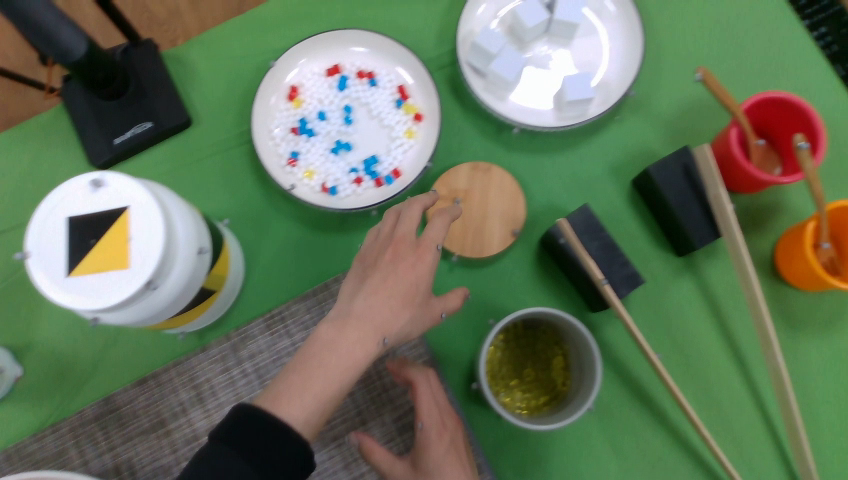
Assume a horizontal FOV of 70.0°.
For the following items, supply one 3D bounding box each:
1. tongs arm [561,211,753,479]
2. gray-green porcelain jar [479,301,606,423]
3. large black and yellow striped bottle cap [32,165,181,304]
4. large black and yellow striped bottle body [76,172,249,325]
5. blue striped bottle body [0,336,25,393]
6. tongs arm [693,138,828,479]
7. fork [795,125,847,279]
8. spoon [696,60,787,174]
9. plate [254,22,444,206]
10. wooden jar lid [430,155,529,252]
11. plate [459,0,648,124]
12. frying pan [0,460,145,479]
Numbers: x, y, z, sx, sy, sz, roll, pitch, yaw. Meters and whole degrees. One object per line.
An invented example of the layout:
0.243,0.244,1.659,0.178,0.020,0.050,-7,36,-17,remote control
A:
0.259,0.123,0.597,0.051,0.026,0.385,-33,92,-7,tongs arm
0.107,0.116,0.583,0.106,0.127,0.105,0,80,1,gray-green porcelain jar
-0.258,-0.005,0.494,0.115,0.019,0.114,0,81,0,large black and yellow striped bottle cap
-0.257,0.012,0.577,0.131,0.184,0.130,0,79,1,large black and yellow striped bottle body
-0.460,0.123,0.592,0.063,0.121,0.063,0,80,1,blue striped bottle body
0.334,0.083,0.604,0.028,0.027,0.387,-19,91,-10,tongs arm
0.389,-0.032,0.591,0.028,0.018,0.209,-38,125,3,fork
0.323,-0.124,0.610,0.196,0.021,0.041,32,76,-37,spoon
-0.081,-0.137,0.673,0.209,0.038,0.208,0,81,1,plate
0.060,-0.039,0.663,0.108,0.021,0.108,0,82,1,wooden jar lid
0.144,-0.226,0.684,0.207,0.039,0.207,0,80,1,plate
-0.254,0.404,0.547,0.485,0.103,0.306,30,83,14,frying pan
